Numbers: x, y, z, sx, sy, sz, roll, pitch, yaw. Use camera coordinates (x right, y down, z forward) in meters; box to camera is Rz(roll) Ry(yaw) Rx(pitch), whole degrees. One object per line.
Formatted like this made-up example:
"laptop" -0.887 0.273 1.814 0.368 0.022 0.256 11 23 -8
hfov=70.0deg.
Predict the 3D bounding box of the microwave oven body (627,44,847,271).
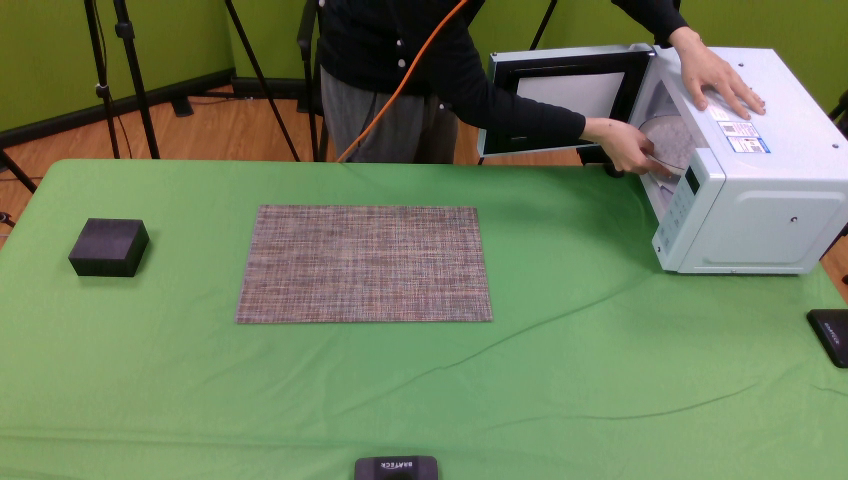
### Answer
"microwave oven body" 0.620 -0.172 1.234 0.326 0.261 0.439 0 46 -3

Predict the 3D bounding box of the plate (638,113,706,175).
"plate" 0.557 -0.196 1.282 0.209 0.038 0.208 2 45 -2

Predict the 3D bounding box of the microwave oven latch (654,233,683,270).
"microwave oven latch" 0.473 0.021 1.176 0.030 0.029 0.078 2 46 -1

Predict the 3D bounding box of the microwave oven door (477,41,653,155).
"microwave oven door" 0.304 -0.310 1.334 0.356 0.245 0.039 -8 48 -10
